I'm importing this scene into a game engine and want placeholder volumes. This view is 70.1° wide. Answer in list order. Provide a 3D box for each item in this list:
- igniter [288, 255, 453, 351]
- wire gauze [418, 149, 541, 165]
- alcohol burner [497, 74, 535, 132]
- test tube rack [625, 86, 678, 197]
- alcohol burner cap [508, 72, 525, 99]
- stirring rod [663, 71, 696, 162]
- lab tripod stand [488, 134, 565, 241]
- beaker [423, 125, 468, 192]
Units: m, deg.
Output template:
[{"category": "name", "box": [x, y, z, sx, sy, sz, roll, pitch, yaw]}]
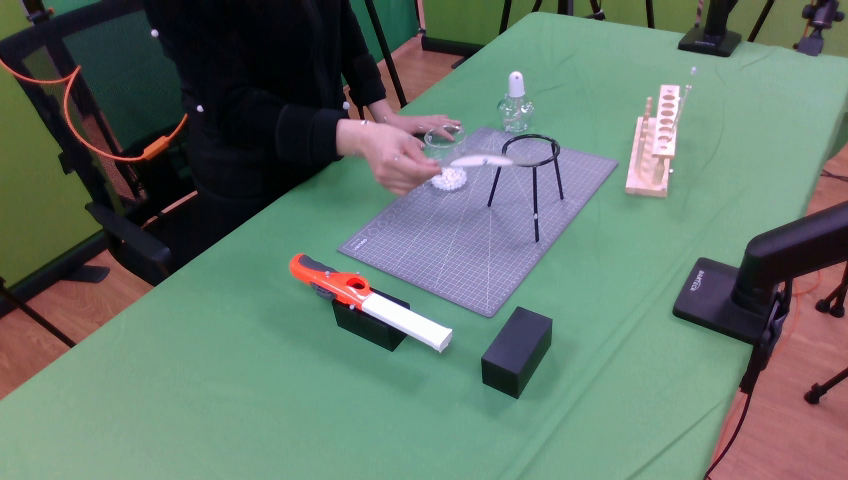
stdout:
[{"category": "igniter", "box": [-0.083, 0.079, 0.818, 0.274, 0.025, 0.057, 23, 46, 27]}, {"category": "wire gauze", "box": [0.078, -0.112, 0.836, 0.120, 0.011, 0.126, 13, 21, 42]}, {"category": "alcohol burner", "box": [0.184, -0.278, 1.210, 0.078, 0.119, 0.077, -3, 42, 3]}, {"category": "test tube rack", "box": [0.412, -0.184, 1.088, 0.066, 0.085, 0.242, 9, 43, 18]}, {"category": "alcohol burner cap", "box": [0.181, -0.306, 1.186, 0.034, 0.048, 0.033, -7, 39, 6]}, {"category": "stirring rod", "box": [0.411, -0.196, 0.981, 0.014, 0.177, 0.006, 11, 50, 13]}, {"category": "lab tripod stand", "box": [0.168, -0.092, 0.972, 0.148, 0.132, 0.147, -5, 41, 5]}, {"category": "beaker", "box": [0.043, -0.144, 1.078, 0.073, 0.100, 0.084, 28, 51, 34]}]
